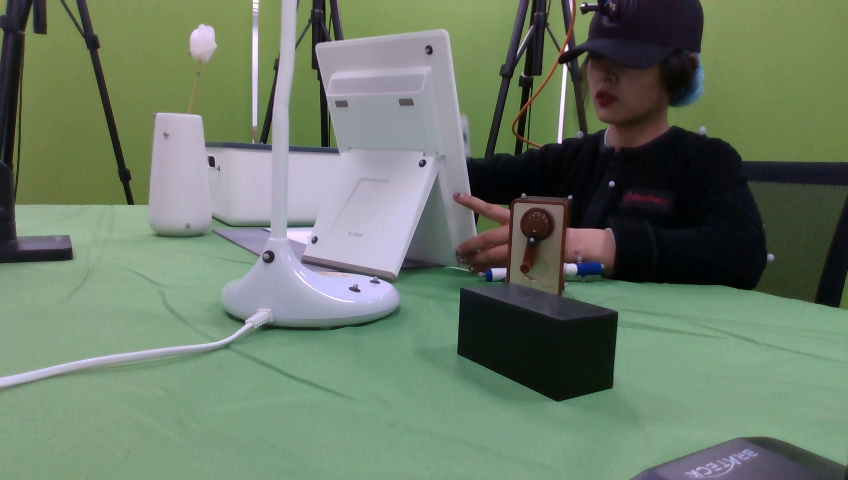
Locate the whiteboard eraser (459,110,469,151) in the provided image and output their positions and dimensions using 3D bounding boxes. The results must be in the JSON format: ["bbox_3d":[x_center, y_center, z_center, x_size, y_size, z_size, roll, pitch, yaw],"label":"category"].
[{"bbox_3d":[0.004,-0.141,0.793,0.112,0.055,0.042,6,23,36],"label":"whiteboard eraser"}]

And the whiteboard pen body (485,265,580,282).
[{"bbox_3d":[0.144,0.040,0.738,0.141,0.017,0.017,-2,8,-10],"label":"whiteboard pen body"}]

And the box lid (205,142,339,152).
[{"bbox_3d":[-0.270,-0.196,1.310,0.373,0.015,0.262,-2,9,-30],"label":"box lid"}]

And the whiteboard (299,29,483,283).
[{"bbox_3d":[-0.074,-0.082,0.742,0.216,0.305,0.144,9,29,38],"label":"whiteboard"}]

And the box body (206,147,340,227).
[{"bbox_3d":[-0.276,-0.122,1.320,0.366,0.160,0.253,-2,9,-30],"label":"box body"}]

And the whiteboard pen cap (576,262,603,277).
[{"bbox_3d":[0.203,0.036,0.749,0.033,0.018,0.018,-3,8,-7],"label":"whiteboard pen cap"}]

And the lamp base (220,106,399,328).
[{"bbox_3d":[-0.102,-0.023,0.531,0.160,0.180,0.179,4,10,10],"label":"lamp base"}]

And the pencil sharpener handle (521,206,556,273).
[{"bbox_3d":[0.111,0.000,0.613,0.036,0.067,0.031,13,10,14],"label":"pencil sharpener handle"}]

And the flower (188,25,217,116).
[{"bbox_3d":[-0.394,-0.189,1.011,0.044,0.361,0.038,-1,-13,27],"label":"flower"}]

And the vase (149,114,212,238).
[{"bbox_3d":[-0.405,-0.106,1.005,0.098,0.200,0.098,2,6,0],"label":"vase"}]

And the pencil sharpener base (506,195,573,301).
[{"bbox_3d":[0.127,0.007,0.663,0.061,0.107,0.077,5,8,15],"label":"pencil sharpener base"}]
